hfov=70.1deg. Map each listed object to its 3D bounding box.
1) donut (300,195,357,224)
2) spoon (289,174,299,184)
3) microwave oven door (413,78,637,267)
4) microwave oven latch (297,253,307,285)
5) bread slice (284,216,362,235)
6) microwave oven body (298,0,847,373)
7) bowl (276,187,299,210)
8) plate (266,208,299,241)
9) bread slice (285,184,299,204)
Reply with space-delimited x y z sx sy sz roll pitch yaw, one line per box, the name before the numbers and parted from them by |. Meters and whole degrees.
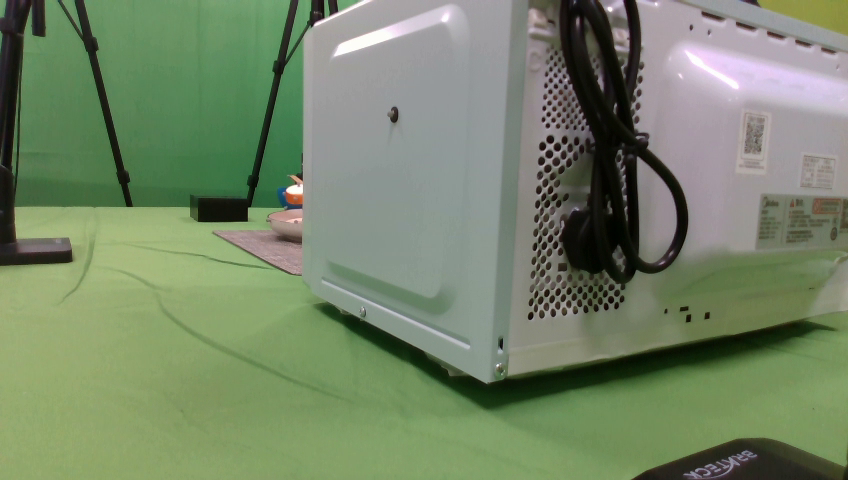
donut | -0.166 -0.053 1.052 0.099 0.048 0.099 2 9 0
spoon | -0.261 -0.111 1.343 0.042 0.021 0.192 -7 33 -31
microwave oven door | 0.128 -0.104 0.889 0.354 0.243 0.039 9 10 41
microwave oven latch | -0.082 0.027 0.582 0.079 0.029 0.030 -1 7 -32
bread slice | -0.175 -0.025 1.053 0.135 0.018 0.106 0 10 -10
microwave oven body | 0.151 -0.055 0.543 0.444 0.260 0.324 -1 7 -33
bowl | -0.241 -0.073 1.302 0.151 0.077 0.151 2 7 0
plate | -0.167 -0.026 1.054 0.208 0.039 0.207 1 10 0
bread slice | -0.174 -0.083 1.045 0.132 0.019 0.104 -2 16 -4
